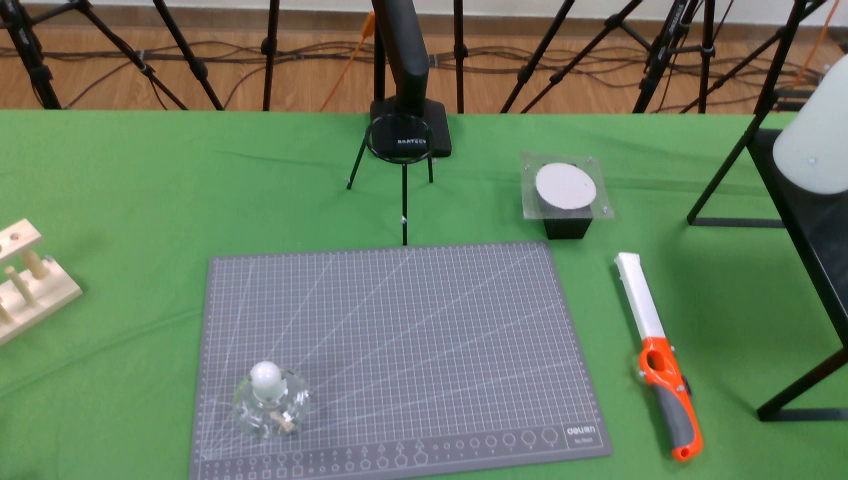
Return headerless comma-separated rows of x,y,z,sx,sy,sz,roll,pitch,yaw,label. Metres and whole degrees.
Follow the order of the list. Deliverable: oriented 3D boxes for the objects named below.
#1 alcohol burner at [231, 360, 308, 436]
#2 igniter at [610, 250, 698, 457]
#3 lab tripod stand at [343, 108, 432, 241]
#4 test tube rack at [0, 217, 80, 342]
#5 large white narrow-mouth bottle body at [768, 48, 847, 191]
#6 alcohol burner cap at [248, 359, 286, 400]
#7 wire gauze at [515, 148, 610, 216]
-0.158,0.153,0.615,0.078,0.120,0.077,5,52,-6,alcohol burner
0.280,0.129,0.749,0.057,0.025,0.273,7,53,-16,igniter
-0.038,-0.093,0.804,0.148,0.132,0.147,5,54,-6,lab tripod stand
-0.510,0.085,0.640,0.066,0.086,0.242,38,58,19,test tube rack
0.465,-0.148,0.647,0.102,0.196,0.101,4,53,-5,large white narrow-mouth bottle body
-0.154,0.133,0.586,0.034,0.048,0.033,2,59,-3,alcohol burner cap
0.189,-0.080,0.841,0.121,0.011,0.124,4,53,-5,wire gauze
